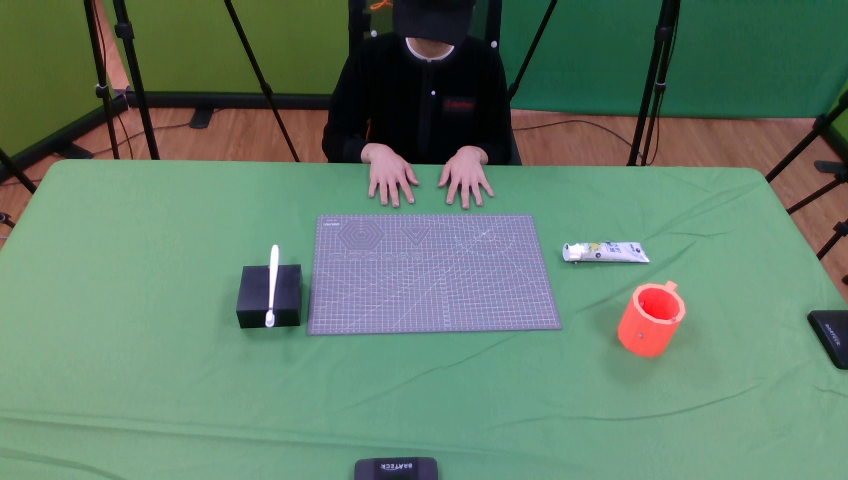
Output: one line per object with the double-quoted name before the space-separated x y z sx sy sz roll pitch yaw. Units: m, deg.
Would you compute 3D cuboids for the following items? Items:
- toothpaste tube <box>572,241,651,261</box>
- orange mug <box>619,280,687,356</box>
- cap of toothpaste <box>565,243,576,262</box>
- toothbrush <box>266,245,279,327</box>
"toothpaste tube" 0.363 0.024 1.192 0.165 0.035 0.054 -2 50 -11
"orange mug" 0.401 0.125 1.045 0.083 0.101 0.126 30 56 24
"cap of toothpaste" 0.285 0.023 1.178 0.011 0.037 0.037 -3 46 -11
"toothbrush" -0.261 0.073 1.042 0.014 0.017 0.180 -6 46 -3
